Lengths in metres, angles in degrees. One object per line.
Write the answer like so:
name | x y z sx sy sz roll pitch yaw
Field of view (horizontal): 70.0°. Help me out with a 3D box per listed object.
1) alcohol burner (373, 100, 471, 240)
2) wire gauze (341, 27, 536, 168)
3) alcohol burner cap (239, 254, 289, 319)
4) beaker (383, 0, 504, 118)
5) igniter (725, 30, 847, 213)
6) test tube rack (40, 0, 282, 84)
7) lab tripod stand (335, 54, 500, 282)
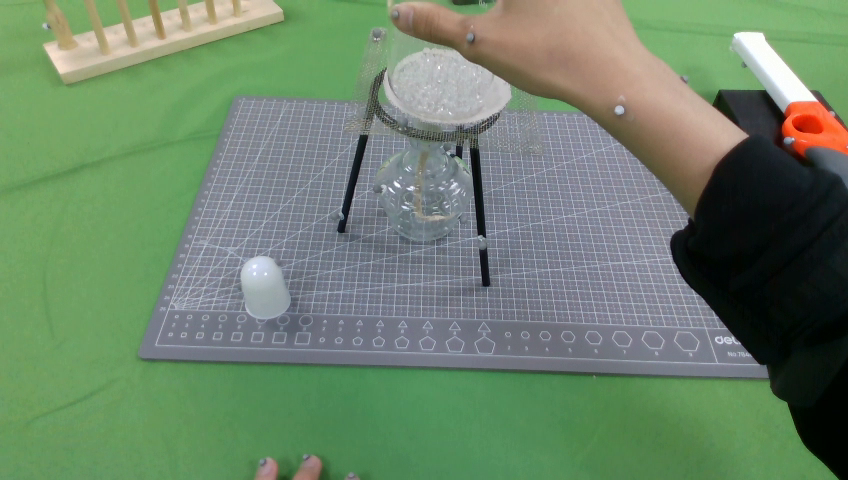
alcohol burner | -0.001 -0.056 0.464 0.078 0.120 0.077 1 50 -1
wire gauze | 0.014 -0.103 0.406 0.125 0.011 0.120 9 53 -1
alcohol burner cap | -0.115 0.030 0.428 0.034 0.048 0.033 3 48 -3
beaker | 0.011 -0.130 0.364 0.074 0.101 0.083 -5 51 -7
igniter | 0.333 -0.111 0.533 0.057 0.025 0.273 -1 47 -1
test tube rack | -0.280 -0.254 0.640 0.242 0.086 0.066 -27 56 -25
lab tripod stand | 0.007 -0.055 0.450 0.148 0.132 0.147 3 49 -3
